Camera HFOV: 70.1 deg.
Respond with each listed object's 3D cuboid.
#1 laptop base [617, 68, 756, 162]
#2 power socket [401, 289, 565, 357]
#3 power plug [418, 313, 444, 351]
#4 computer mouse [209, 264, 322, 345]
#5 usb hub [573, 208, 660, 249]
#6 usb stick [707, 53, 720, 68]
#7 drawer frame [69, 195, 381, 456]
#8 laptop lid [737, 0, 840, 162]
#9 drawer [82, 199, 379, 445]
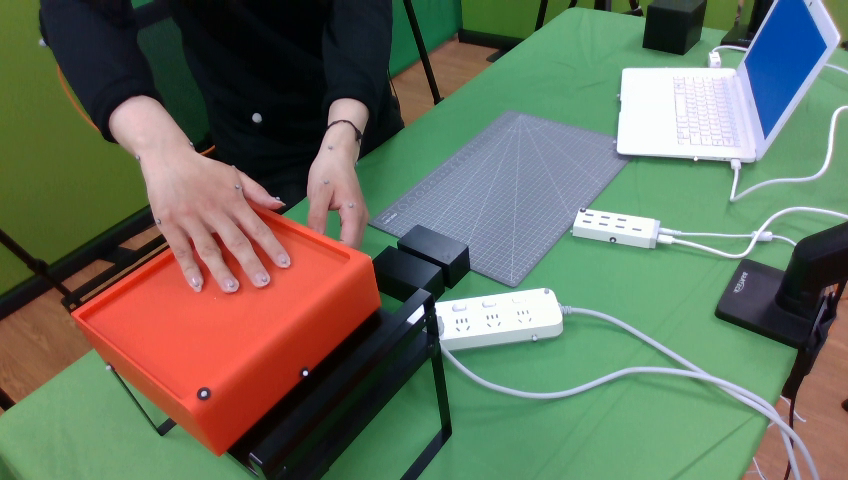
[{"bbox_3d":[0.509,-0.255,1.201,0.234,0.023,0.353,4,41,17],"label":"laptop base"},{"bbox_3d":[0.081,0.112,0.822,0.227,0.033,0.072,-7,41,-1],"label":"power socket"},{"bbox_3d":[0.007,0.127,0.786,0.035,0.053,0.072,-1,43,9],"label":"power plug"},{"bbox_3d":[-0.164,0.062,0.624,0.116,0.041,0.063,23,44,27],"label":"computer mouse"},{"bbox_3d":[0.302,-0.019,0.949,0.124,0.025,0.049,11,43,20],"label":"usb hub"},{"bbox_3d":[0.629,-0.382,1.313,0.021,0.027,0.059,2,46,16],"label":"usb stick"},{"bbox_3d":[-0.186,0.068,0.596,0.200,0.083,0.214,23,50,30],"label":"drawer frame"},{"bbox_3d":[0.640,-0.327,1.090,0.013,0.242,0.356,16,43,5],"label":"laptop lid"},{"bbox_3d":[-0.185,0.066,0.600,0.193,0.073,0.212,24,50,31],"label":"drawer"}]
